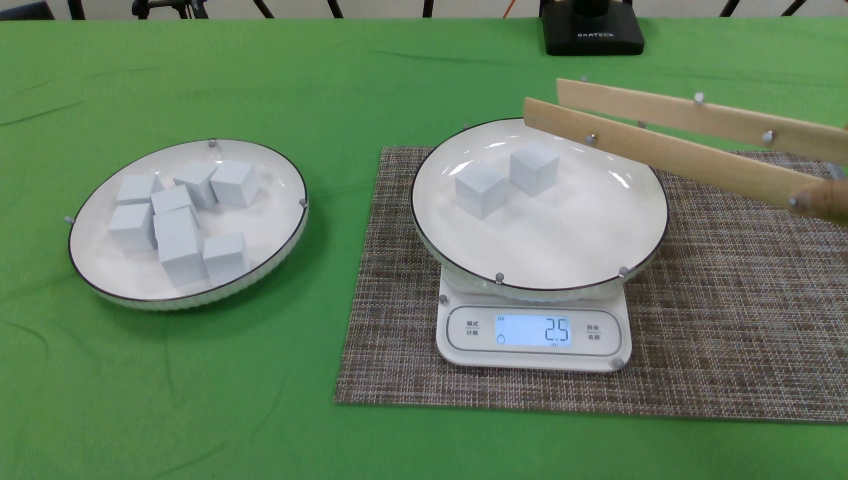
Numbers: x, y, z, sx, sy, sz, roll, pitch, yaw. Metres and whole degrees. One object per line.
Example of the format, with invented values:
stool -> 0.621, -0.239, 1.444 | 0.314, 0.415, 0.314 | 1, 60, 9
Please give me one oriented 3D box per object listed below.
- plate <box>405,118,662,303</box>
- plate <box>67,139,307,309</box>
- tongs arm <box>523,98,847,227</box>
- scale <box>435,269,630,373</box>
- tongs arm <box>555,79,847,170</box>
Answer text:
plate -> 0.088, -0.026, 0.508 | 0.208, 0.039, 0.205 | 0, 47, 1
plate -> -0.210, -0.015, 0.557 | 0.209, 0.038, 0.207 | -1, 47, 1
tongs arm -> 0.213, -0.036, 0.358 | 0.028, 0.028, 0.383 | -33, 41, -31
scale -> 0.088, 0.017, 0.512 | 0.148, 0.032, 0.199 | 2, 48, 5
tongs arm -> 0.232, -0.050, 0.370 | 0.381, 0.027, 0.050 | 23, 49, 38
